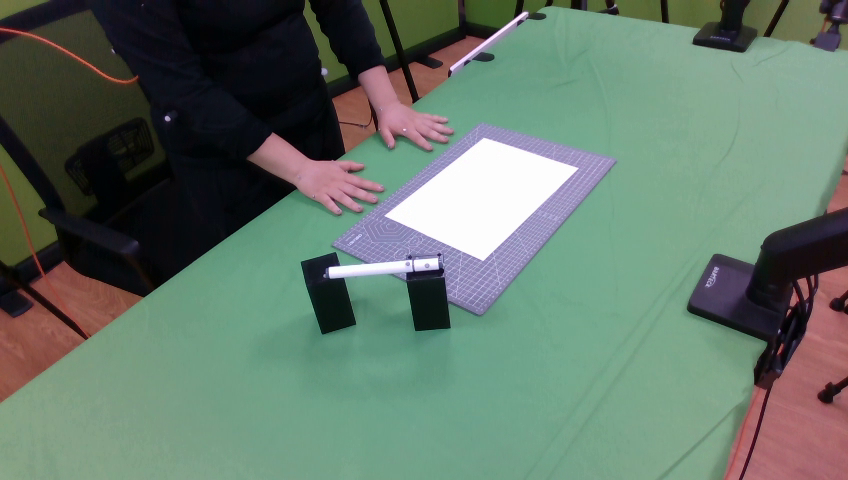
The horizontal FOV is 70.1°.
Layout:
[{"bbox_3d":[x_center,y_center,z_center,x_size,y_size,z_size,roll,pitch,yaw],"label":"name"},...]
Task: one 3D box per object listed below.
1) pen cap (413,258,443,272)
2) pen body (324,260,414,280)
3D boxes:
[{"bbox_3d":[0.005,0.031,0.781,0.038,0.017,0.017,-5,40,3],"label":"pen cap"},{"bbox_3d":[-0.058,0.038,0.785,0.144,0.017,0.017,-6,40,3],"label":"pen body"}]
